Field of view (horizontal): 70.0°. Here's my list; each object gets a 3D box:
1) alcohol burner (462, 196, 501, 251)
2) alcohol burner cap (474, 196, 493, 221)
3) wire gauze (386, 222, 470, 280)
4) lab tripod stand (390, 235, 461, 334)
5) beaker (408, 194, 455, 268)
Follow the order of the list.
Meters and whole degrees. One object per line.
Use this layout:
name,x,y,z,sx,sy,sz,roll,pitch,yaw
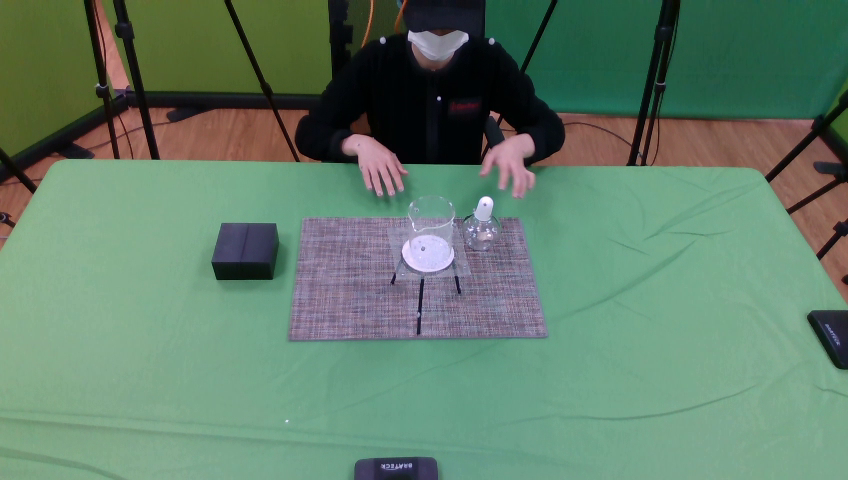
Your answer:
alcohol burner,0.112,-0.037,1.173,0.078,0.120,0.077,1,45,-1
alcohol burner cap,0.116,-0.062,1.147,0.034,0.048,0.033,6,48,-6
wire gauze,0.005,0.018,1.006,0.125,0.011,0.120,-7,45,-5
lab tripod stand,-0.002,0.067,1.050,0.148,0.132,0.147,1,47,-1
beaker,0.009,-0.010,0.965,0.074,0.101,0.084,23,50,20
